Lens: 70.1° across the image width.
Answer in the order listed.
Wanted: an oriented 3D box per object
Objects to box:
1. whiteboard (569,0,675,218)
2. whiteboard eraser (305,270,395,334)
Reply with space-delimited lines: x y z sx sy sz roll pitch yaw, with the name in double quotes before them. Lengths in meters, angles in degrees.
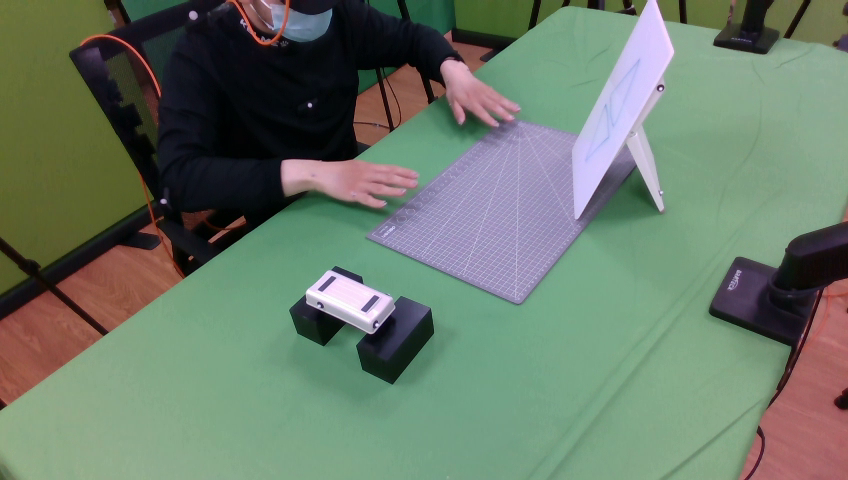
"whiteboard" 0.363 -0.187 0.965 0.144 0.305 0.216 18 42 -3
"whiteboard eraser" -0.098 0.083 0.799 0.112 0.042 0.056 20 44 25
